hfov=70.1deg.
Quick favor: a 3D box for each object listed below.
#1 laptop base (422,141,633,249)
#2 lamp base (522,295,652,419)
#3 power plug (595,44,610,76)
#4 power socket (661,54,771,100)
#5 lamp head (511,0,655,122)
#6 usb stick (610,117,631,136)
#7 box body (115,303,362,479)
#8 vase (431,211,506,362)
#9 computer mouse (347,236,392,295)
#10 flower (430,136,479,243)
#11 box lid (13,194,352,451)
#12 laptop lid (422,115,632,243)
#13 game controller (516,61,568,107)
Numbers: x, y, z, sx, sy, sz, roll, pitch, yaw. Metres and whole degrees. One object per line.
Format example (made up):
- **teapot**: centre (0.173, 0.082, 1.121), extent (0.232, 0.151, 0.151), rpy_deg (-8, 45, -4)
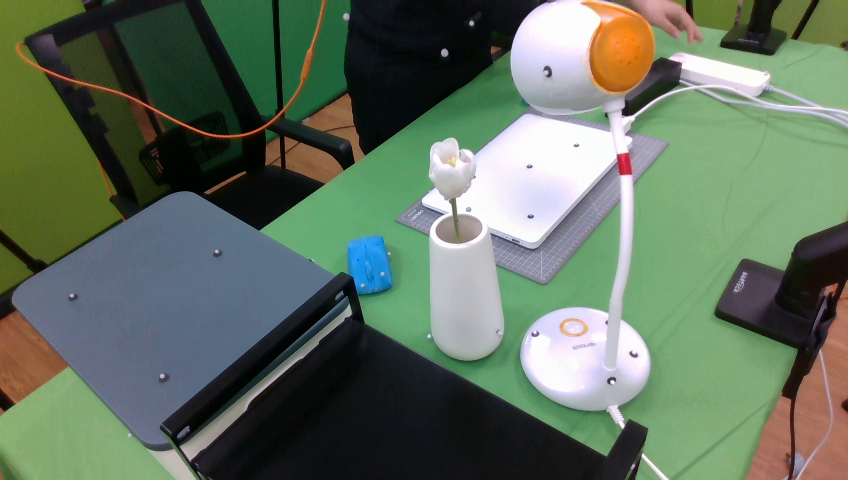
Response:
- **laptop base**: centre (0.193, -0.117, 1.087), extent (0.233, 0.023, 0.355), rpy_deg (21, 48, 34)
- **lamp base**: centre (0.201, 0.095, 0.710), extent (0.161, 0.181, 0.177), rpy_deg (-17, 43, -10)
- **power plug**: centre (0.420, -0.424, 1.425), extent (0.035, 0.072, 0.053), rpy_deg (3, 18, 23)
- **power socket**: centre (0.615, -0.348, 1.284), extent (0.225, 0.033, 0.072), rpy_deg (30, 53, 35)
- **lamp head**: centre (0.155, -0.168, 0.564), extent (0.113, 0.113, 0.122), rpy_deg (-18, 23, -12)
- **usb stick**: centre (0.370, -0.208, 1.148), extent (0.021, 0.027, 0.059), rpy_deg (25, 54, 34)
- **box body**: centre (-0.285, 0.123, 0.766), extent (0.361, 0.161, 0.255), rpy_deg (25, 49, 33)
- **vase**: centre (0.054, 0.061, 0.757), extent (0.098, 0.201, 0.097), rpy_deg (-3, 40, 3)
- **computer mouse**: centre (-0.086, 0.035, 0.936), extent (0.063, 0.041, 0.116), rpy_deg (-8, 44, -5)
- **flower**: centre (0.041, 0.011, 0.691), extent (0.044, 0.363, 0.038), rpy_deg (15, 62, 14)
- **box lid**: centre (-0.291, 0.067, 0.717), extent (0.368, 0.015, 0.264), rpy_deg (25, 50, 33)
- **laptop lid**: centre (0.190, -0.127, 1.081), extent (0.239, 0.013, 0.358), rpy_deg (23, 49, 35)
- **game controller**: centre (0.259, -0.352, 1.336), extent (0.097, 0.052, 0.154), rpy_deg (-3, 41, 2)
